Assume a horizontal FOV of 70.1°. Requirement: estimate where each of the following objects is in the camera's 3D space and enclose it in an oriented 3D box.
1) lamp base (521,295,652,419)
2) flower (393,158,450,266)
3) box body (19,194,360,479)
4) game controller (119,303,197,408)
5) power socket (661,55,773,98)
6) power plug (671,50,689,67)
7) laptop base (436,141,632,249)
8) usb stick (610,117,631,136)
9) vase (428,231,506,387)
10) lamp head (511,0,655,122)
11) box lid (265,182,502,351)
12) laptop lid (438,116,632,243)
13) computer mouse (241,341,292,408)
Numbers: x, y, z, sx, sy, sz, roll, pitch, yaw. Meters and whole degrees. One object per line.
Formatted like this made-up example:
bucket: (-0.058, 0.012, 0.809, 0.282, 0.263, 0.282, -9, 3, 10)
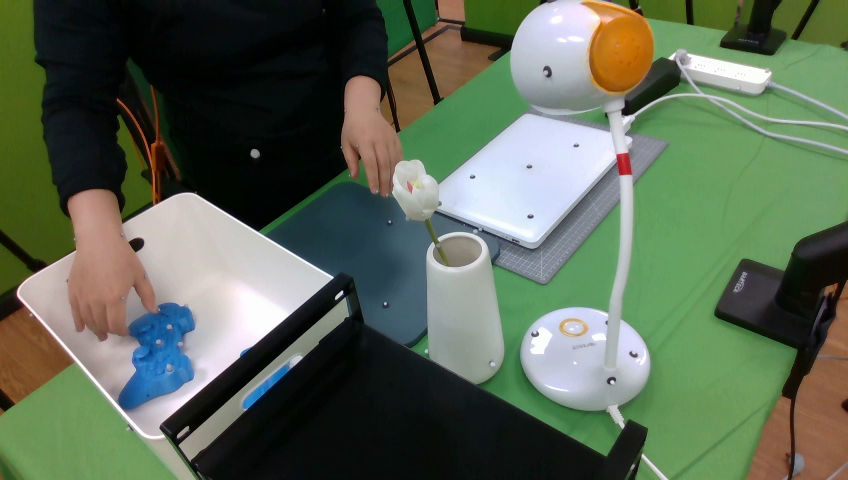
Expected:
lamp base: (0.201, 0.095, 0.710, 0.161, 0.181, 0.178, -16, 43, -10)
flower: (0.028, 0.036, 0.664, 0.043, 0.364, 0.038, 35, 73, 29)
box body: (-0.288, 0.118, 0.772, 0.361, 0.161, 0.255, 26, 50, 33)
game controller: (-0.365, 0.148, 0.828, 0.097, 0.052, 0.154, -11, 40, -10)
power socket: (0.619, -0.353, 1.289, 0.225, 0.033, 0.072, 26, 51, 33)
power plug: (0.540, -0.379, 1.302, 0.073, 0.053, 0.035, -31, 46, -23)
laptop base: (0.193, -0.117, 1.087, 0.233, 0.023, 0.355, 21, 48, 34)
usb stick: (0.370, -0.208, 1.148, 0.021, 0.027, 0.059, 26, 57, 32)
vase: (0.050, 0.087, 0.728, 0.098, 0.201, 0.097, -3, 40, 3)
lamp head: (0.155, -0.168, 0.563, 0.113, 0.113, 0.122, -18, 23, -12)
box lid: (-0.087, 0.023, 0.971, 0.368, 0.015, 0.264, 23, 49, 31)
laptop lid: (0.189, -0.126, 1.081, 0.239, 0.013, 0.358, 23, 48, 35)
computer mouse: (-0.201, 0.177, 0.776, 0.063, 0.041, 0.116, -11, 44, -8)
